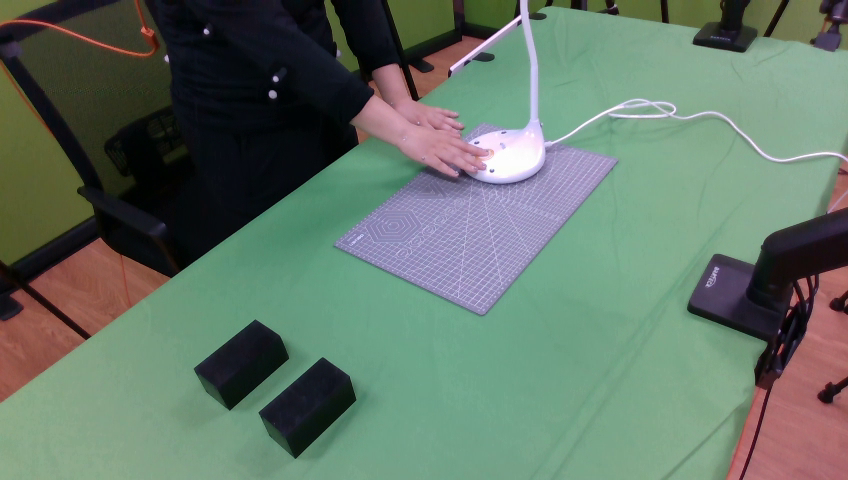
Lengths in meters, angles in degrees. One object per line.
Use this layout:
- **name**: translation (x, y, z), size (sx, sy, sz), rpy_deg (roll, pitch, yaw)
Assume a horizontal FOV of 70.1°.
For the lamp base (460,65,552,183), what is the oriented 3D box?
- **lamp base**: translation (0.149, -0.218, 1.078), size (0.180, 0.181, 0.159), rpy_deg (-19, 42, -17)
